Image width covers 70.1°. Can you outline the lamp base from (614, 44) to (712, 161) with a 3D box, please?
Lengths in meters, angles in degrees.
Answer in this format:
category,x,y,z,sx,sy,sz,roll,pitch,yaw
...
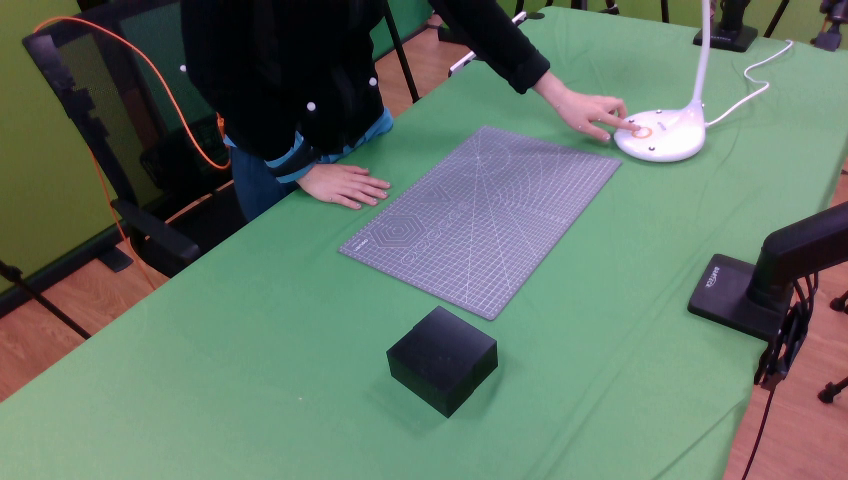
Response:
category,x,y,z,sx,sy,sz,roll,pitch,yaw
lamp base,0.441,-0.257,1.080,0.180,0.181,0.159,-15,41,-12
